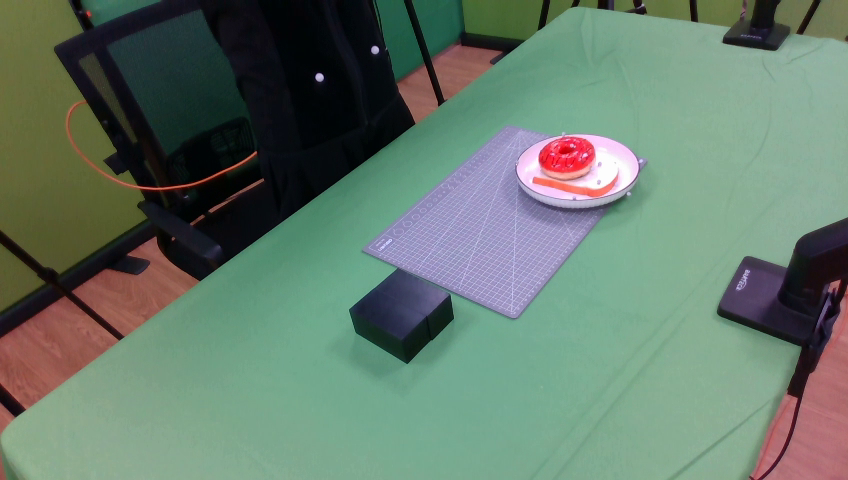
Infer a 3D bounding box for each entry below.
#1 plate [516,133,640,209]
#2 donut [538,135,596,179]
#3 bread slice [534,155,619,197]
[{"bbox_3d":[0.266,-0.117,1.054,0.209,0.038,0.208,-5,40,5],"label":"plate"},{"bbox_3d":[0.248,-0.144,1.047,0.099,0.048,0.098,-8,41,8],"label":"donut"},{"bbox_3d":[0.274,-0.119,1.057,0.130,0.019,0.105,19,49,30],"label":"bread slice"}]
